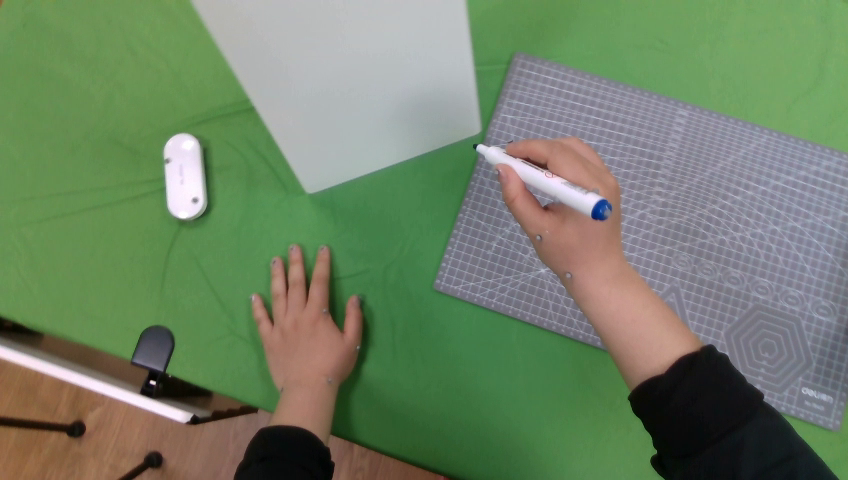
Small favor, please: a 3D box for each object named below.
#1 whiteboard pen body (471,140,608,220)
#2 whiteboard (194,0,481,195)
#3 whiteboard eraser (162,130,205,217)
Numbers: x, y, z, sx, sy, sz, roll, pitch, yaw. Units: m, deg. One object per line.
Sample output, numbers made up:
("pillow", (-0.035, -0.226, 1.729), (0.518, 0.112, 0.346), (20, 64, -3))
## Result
("whiteboard pen body", (0.077, -0.049, 0.441), (0.017, 0.017, 0.139), (-46, 45, -6))
("whiteboard", (-0.078, -0.218, 0.599), (0.217, 0.308, 0.142), (-19, 60, -1))
("whiteboard eraser", (-0.275, -0.077, 0.691), (0.041, 0.019, 0.101), (-8, 80, -1))
